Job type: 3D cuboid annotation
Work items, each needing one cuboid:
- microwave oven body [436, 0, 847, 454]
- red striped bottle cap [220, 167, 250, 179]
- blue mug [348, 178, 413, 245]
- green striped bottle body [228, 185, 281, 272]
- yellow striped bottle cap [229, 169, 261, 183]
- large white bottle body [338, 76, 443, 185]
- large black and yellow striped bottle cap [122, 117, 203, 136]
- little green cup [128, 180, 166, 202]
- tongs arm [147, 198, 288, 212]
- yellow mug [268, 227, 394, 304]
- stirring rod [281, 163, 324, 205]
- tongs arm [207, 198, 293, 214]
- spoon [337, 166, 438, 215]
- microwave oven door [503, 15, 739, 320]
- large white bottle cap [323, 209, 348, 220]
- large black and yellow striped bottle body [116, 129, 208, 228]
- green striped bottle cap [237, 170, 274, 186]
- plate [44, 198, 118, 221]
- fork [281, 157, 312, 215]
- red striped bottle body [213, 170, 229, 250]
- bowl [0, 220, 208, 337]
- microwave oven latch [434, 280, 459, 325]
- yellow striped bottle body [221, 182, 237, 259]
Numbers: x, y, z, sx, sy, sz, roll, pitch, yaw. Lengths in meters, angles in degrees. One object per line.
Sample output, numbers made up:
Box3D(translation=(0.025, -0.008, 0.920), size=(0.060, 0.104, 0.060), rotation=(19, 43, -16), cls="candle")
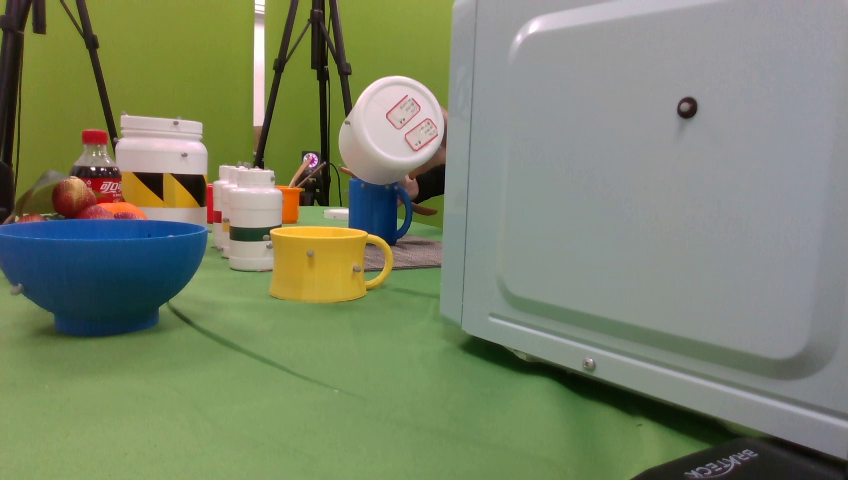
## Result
Box3D(translation=(0.279, -0.040, 0.464), size=(0.444, 0.260, 0.324), rotation=(-3, 9, -41), cls="microwave oven body")
Box3D(translation=(-0.281, -0.099, 0.901), size=(0.044, 0.017, 0.044), rotation=(-1, 5, 0), cls="red striped bottle cap")
Box3D(translation=(-0.071, -0.047, 1.002), size=(0.116, 0.106, 0.082), rotation=(6, 9, 25), cls="blue mug")
Box3D(translation=(-0.208, -0.024, 0.745), size=(0.063, 0.119, 0.063), rotation=(2, 7, 0), cls="green striped bottle body")
Box3D(translation=(-0.241, -0.086, 0.816), size=(0.044, 0.018, 0.044), rotation=(0, 6, 0), cls="yellow striped bottle cap")
Box3D(translation=(-0.058, -0.155, 0.908), size=(0.131, 0.130, 0.184), rotation=(0, -5, -17), cls="large white bottle body")
Box3D(translation=(-0.399, -0.174, 0.927), size=(0.115, 0.019, 0.115), rotation=(5, 9, -1), cls="large black and yellow striped bottle cap")
Box3D(translation=(-0.485, -0.087, 1.062), size=(0.061, 0.038, 0.061), rotation=(0, 6, 0), cls="little green cup")
Box3D(translation=(-0.503, -0.090, 1.513), size=(0.028, 0.028, 0.389), rotation=(-1, 3, 38), cls="tongs arm")
Box3D(translation=(-0.094, 0.023, 0.629), size=(0.131, 0.064, 0.099), rotation=(0, 7, -22), cls="yellow mug")
Box3D(translation=(-0.278, -0.105, 1.293), size=(0.176, 0.006, 0.014), rotation=(-47, 25, -18), cls="stirring rod")
Box3D(translation=(-0.423, -0.084, 1.473), size=(0.050, 0.026, 0.386), rotation=(1, 6, 21), cls="tongs arm")
Box3D(translation=(-0.065, -0.088, 1.066), size=(0.193, 0.021, 0.041), rotation=(28, -8, 4), cls="spoon")
Box3D(translation=(0.218, -0.065, 0.601), size=(0.358, 0.243, 0.039), rotation=(-4, 10, -41), cls="microwave oven door")
Box3D(translation=(-0.184, -0.062, 1.449), size=(0.115, 0.018, 0.115), rotation=(2, 8, 0), cls="large white bottle cap")
Box3D(translation=(-0.404, -0.089, 0.937), size=(0.131, 0.184, 0.130), rotation=(3, 7, 0), cls="large black and yellow striped bottle body")
Box3D(translation=(-0.205, -0.075, 0.737), size=(0.044, 0.020, 0.044), rotation=(1, 6, 0), cls="green striped bottle cap")
Box3D(translation=(-0.617, -0.056, 1.179), size=(0.209, 0.038, 0.209), rotation=(3, 7, 0), cls="plate")
Box3D(translation=(-0.290, -0.116, 1.321), size=(0.028, 0.018, 0.207), rotation=(7, 52, 18), cls="fork")
Box3D(translation=(-0.283, -0.047, 0.909), size=(0.063, 0.119, 0.063), rotation=(2, 13, 0), cls="red striped bottle body")
Box3D(translation=(-0.251, 0.029, 0.479), size=(0.151, 0.077, 0.151), rotation=(2, 7, 0), cls="bowl")
Box3D(translation=(0.044, 0.045, 0.470), size=(0.079, 0.029, 0.030), rotation=(-2, 8, -39), cls="microwave oven latch")
Box3D(translation=(-0.244, -0.035, 0.823), size=(0.063, 0.120, 0.063), rotation=(2, 8, 0), cls="yellow striped bottle body")
